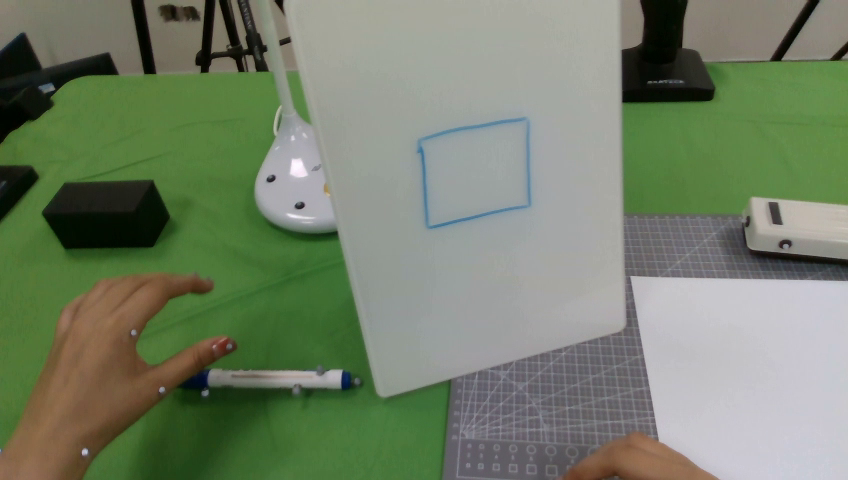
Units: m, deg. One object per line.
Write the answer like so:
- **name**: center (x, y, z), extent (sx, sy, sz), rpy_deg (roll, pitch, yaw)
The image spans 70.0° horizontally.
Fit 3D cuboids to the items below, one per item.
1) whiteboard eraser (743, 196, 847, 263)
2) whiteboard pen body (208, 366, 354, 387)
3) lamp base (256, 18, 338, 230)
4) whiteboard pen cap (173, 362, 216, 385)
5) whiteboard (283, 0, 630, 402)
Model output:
- **whiteboard eraser**: center (0.354, -0.008, 0.552), extent (0.112, 0.042, 0.055), rpy_deg (6, 43, 12)
- **whiteboard pen body**: center (-0.127, 0.111, 0.496), extent (0.141, 0.017, 0.017), rpy_deg (0, 43, 2)
- **lamp base**: center (-0.122, -0.128, 0.633), extent (0.160, 0.182, 0.177), rpy_deg (-34, 48, -27)
- **whiteboard pen cap**: center (-0.187, 0.110, 0.499), extent (0.033, 0.018, 0.018), rpy_deg (2, 43, -1)
- **whiteboard**: center (0.032, -0.059, 0.494), extent (0.217, 0.308, 0.142), rpy_deg (-14, 25, -7)
